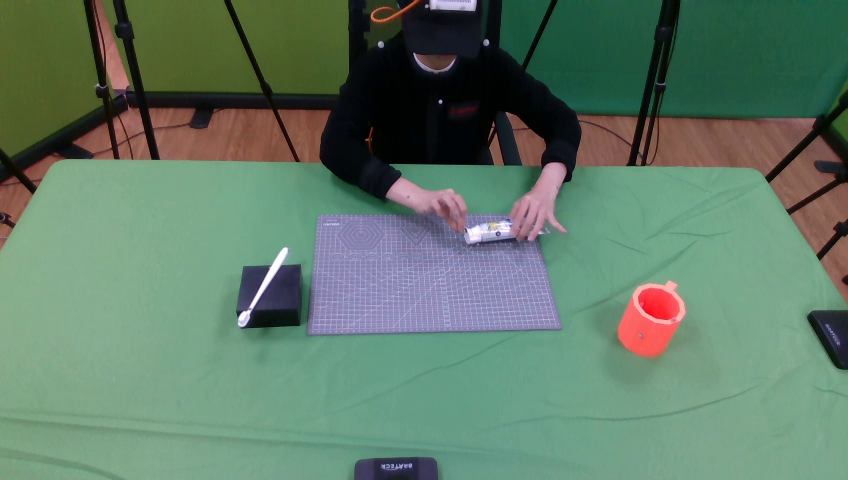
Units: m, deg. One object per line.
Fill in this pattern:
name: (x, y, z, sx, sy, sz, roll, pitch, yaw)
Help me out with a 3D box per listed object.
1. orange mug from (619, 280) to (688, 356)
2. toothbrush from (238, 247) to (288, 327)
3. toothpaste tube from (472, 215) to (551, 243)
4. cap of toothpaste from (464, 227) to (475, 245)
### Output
orange mug: (0.401, 0.125, 1.045, 0.083, 0.101, 0.126, 30, 56, 24)
toothbrush: (-0.274, 0.075, 1.040, 0.014, 0.017, 0.181, 10, 46, 11)
toothpaste tube: (0.168, -0.021, 1.205, 0.165, 0.035, 0.054, -10, 50, -12)
cap of toothpaste: (0.089, -0.009, 1.188, 0.011, 0.037, 0.037, -20, 50, -15)
